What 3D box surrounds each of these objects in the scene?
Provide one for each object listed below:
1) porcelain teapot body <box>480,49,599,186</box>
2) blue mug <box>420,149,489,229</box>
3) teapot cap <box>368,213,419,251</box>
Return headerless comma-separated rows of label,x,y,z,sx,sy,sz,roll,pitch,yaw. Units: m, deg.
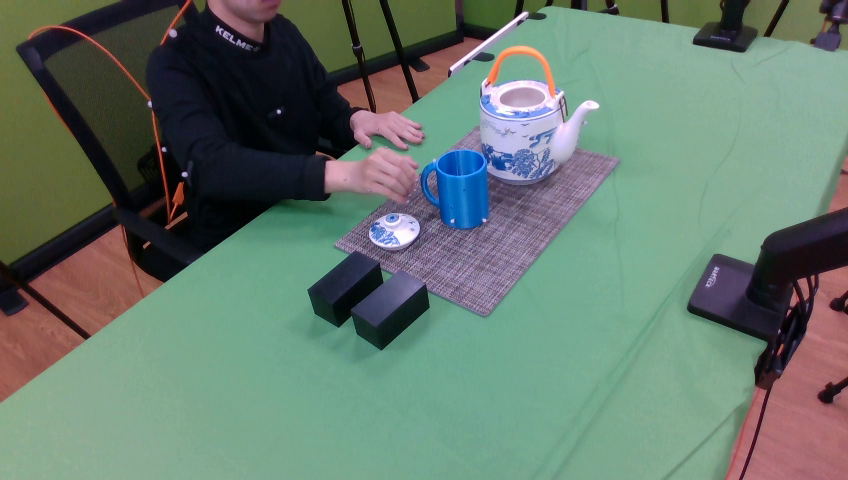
porcelain teapot body,0.192,-0.208,1.023,0.204,0.226,0.145,17,46,25
blue mug,0.048,-0.085,0.991,0.116,0.106,0.082,9,43,18
teapot cap,-0.050,-0.018,0.975,0.085,0.044,0.084,-4,43,4
